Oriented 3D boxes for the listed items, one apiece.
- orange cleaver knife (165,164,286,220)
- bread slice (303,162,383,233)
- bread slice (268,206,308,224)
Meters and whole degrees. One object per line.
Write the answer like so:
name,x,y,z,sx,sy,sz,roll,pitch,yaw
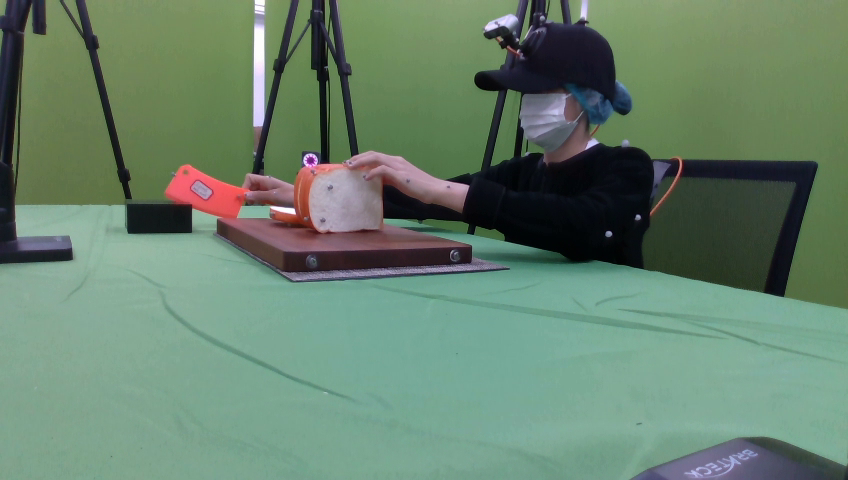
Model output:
orange cleaver knife,-0.364,-0.078,1.121,0.212,0.077,0.012,16,-3,-29
bread slice,-0.120,-0.059,0.919,0.135,0.107,0.018,-12,15,-37
bread slice,-0.195,-0.040,1.015,0.132,0.019,0.104,1,8,-37
